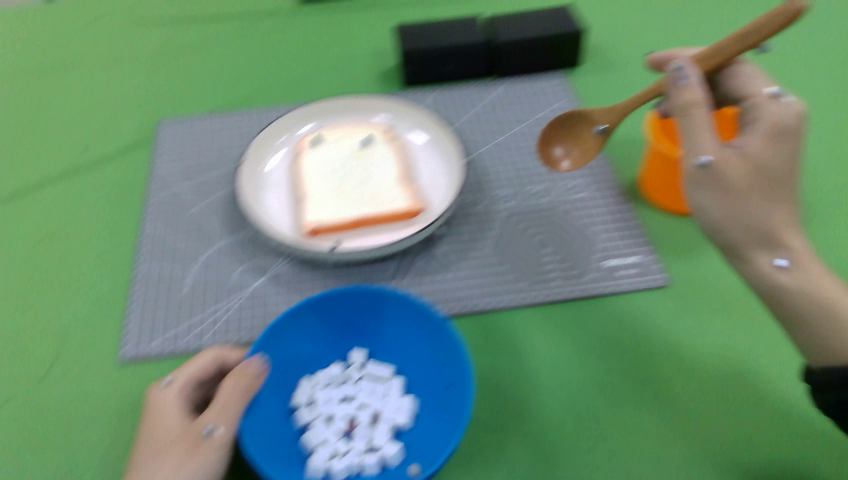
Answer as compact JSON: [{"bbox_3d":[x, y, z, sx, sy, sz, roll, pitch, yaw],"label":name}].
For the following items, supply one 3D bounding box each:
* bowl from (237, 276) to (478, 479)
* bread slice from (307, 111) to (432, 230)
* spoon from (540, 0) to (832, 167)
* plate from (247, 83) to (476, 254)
[{"bbox_3d":[-0.040,0.107,0.408,0.151,0.077,0.150,-1,53,2],"label":"bowl"},{"bbox_3d":[-0.060,-0.069,0.569,0.107,0.018,0.133,-13,55,-7],"label":"bread slice"},{"bbox_3d":[0.140,-0.089,0.362,0.022,0.193,0.041,-21,88,-32],"label":"spoon"},{"bbox_3d":[-0.057,-0.067,0.564,0.209,0.038,0.207,-1,53,2],"label":"plate"}]
